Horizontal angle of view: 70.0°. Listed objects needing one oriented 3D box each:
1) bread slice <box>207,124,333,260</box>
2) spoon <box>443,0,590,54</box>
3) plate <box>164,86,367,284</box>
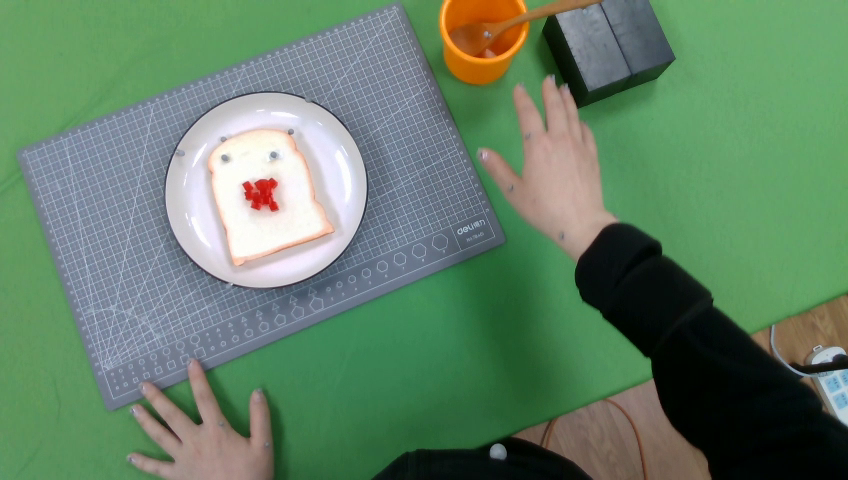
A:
[{"bbox_3d":[-0.170,-0.055,0.637,0.107,0.018,0.134,-23,83,-5],"label":"bread slice"},{"bbox_3d":[0.097,-0.225,0.611,0.022,0.192,0.041,14,78,-44],"label":"spoon"},{"bbox_3d":[-0.162,-0.056,0.637,0.209,0.038,0.208,0,83,-1],"label":"plate"}]
